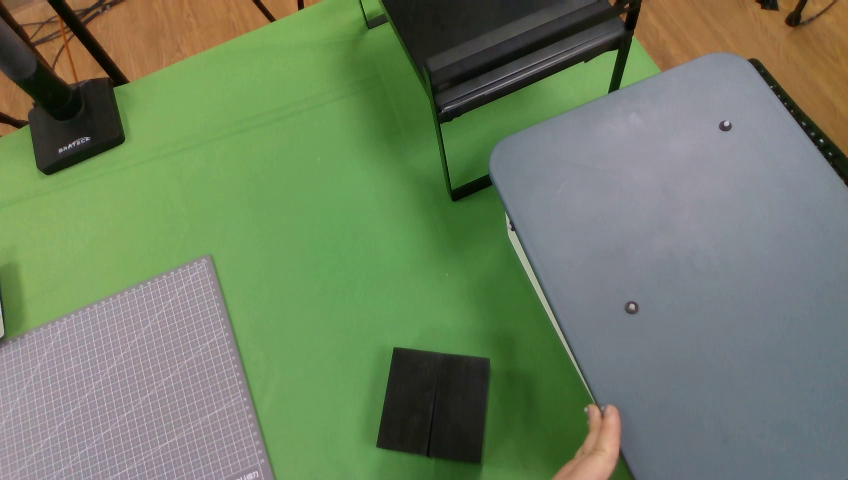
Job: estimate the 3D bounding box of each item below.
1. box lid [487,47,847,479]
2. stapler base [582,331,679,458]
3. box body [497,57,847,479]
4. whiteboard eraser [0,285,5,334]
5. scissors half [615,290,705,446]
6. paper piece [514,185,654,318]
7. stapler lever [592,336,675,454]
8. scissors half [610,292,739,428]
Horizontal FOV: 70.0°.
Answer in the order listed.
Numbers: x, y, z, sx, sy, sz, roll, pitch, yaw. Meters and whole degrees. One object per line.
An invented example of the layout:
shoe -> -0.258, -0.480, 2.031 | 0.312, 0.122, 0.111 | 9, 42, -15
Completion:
box lid -> 0.230, 0.011, 0.501 | 0.263, 0.015, 0.368 | -22, 65, 2
stapler base -> 0.207, 0.154, 0.614 | 0.041, 0.024, 0.129 | -29, 73, 7
box body -> 0.256, 0.044, 0.582 | 0.254, 0.161, 0.361 | -24, 67, -2
whiteboard eraser -> -0.547, 0.070, 0.739 | 0.055, 0.042, 0.111 | -24, 68, -2
scissors half -> 0.237, 0.127, 0.628 | 0.040, 0.013, 0.173 | -17, 60, 1
paper piece -> 0.185, 0.010, 0.697 | 0.136, 0.009, 0.137 | -12, 79, -5
stapler lever -> 0.203, 0.149, 0.591 | 0.027, 0.040, 0.117 | -29, 71, 7
scissors half -> 0.256, 0.118, 0.630 | 0.040, 0.013, 0.173 | -34, 63, -14
